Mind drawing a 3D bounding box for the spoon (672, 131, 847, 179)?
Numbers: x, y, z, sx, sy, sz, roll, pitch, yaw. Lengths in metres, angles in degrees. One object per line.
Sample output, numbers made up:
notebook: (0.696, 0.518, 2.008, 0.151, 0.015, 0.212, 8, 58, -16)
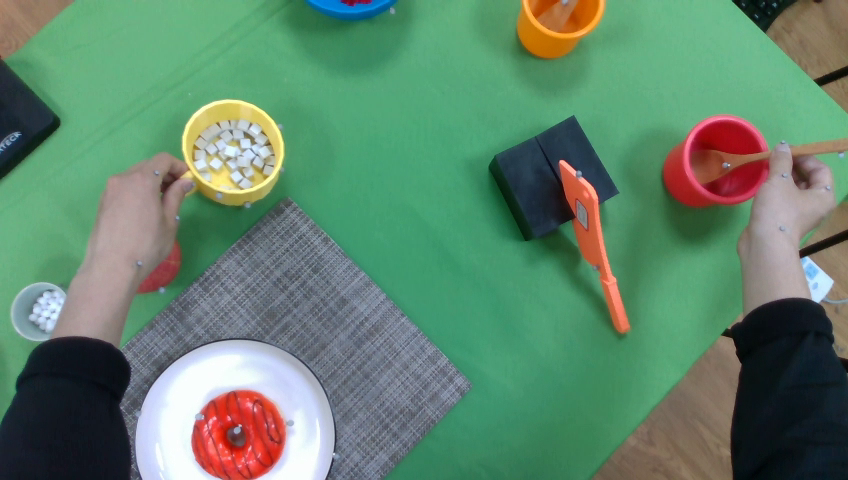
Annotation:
spoon: (0.361, -0.094, 0.643, 0.022, 0.192, 0.041, 11, 80, -39)

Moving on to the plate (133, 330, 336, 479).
plate: (-0.198, 0.199, 0.648, 0.209, 0.038, 0.208, 0, 85, -3)

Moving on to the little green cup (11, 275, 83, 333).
little green cup: (-0.402, 0.069, 0.651, 0.061, 0.038, 0.061, 0, 85, -2)

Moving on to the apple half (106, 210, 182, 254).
apple half: (-0.291, -0.013, 0.646, 0.081, 0.081, 0.033, 25, 87, 0)

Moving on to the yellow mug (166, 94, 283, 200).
yellow mug: (-0.217, -0.089, 0.646, 0.131, 0.064, 0.100, -39, 96, -18)

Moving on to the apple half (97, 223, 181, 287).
apple half: (-0.307, 0.022, 0.644, 0.081, 0.074, 0.053, 26, 88, -4)

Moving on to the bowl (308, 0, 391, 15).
bowl: (-0.083, -0.315, 0.681, 0.151, 0.077, 0.151, 0, 86, -3)

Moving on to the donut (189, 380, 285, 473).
donut: (-0.196, 0.197, 0.637, 0.099, 0.048, 0.099, 0, 88, -3)

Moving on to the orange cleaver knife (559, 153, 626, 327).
orange cleaver knife: (0.184, 0.003, 0.664, 0.012, 0.076, 0.213, -25, 118, -3)

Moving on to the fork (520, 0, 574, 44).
fork: (0.186, -0.290, 0.658, 0.207, 0.018, 0.028, -37, 85, 38)
